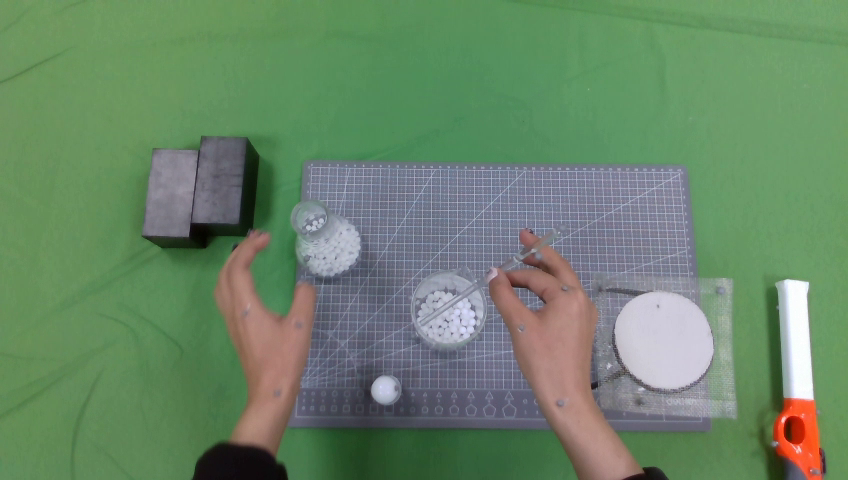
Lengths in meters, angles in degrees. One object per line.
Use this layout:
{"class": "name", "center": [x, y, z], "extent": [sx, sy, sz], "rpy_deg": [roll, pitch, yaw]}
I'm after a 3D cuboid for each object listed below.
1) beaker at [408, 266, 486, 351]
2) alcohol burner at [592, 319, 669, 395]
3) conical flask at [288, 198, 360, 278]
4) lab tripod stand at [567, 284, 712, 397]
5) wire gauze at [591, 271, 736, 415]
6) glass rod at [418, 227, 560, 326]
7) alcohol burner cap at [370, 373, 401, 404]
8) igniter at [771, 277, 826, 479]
{"class": "beaker", "center": [0.023, 0.073, 0.621], "extent": [0.074, 0.100, 0.083], "rpy_deg": [23, 76, 5]}
{"class": "alcohol burner", "center": [0.211, 0.116, 0.606], "extent": [0.078, 0.119, 0.077], "rpy_deg": [0, 76, 2]}
{"class": "conical flask", "center": [-0.109, -0.008, 0.627], "extent": [0.075, 0.122, 0.075], "rpy_deg": [0, 75, 0]}
{"class": "lab tripod stand", "center": [0.209, 0.107, 0.598], "extent": [0.148, 0.132, 0.147], "rpy_deg": [0, 78, 0]}
{"class": "wire gauze", "center": [0.210, 0.088, 0.533], "extent": [0.125, 0.011, 0.121], "rpy_deg": [3, 78, 1]}
{"class": "glass rod", "center": [0.050, 0.038, 0.533], "extent": [0.008, 0.200, 0.008], "rpy_deg": [19, 52, -26]}
{"class": "alcohol burner cap", "center": [-0.042, 0.154, 0.630], "extent": [0.034, 0.048, 0.033], "rpy_deg": [0, 76, 0]}
{"class": "igniter", "center": [0.393, 0.176, 0.641], "extent": [0.057, 0.025, 0.275], "rpy_deg": [7, 76, -10]}
